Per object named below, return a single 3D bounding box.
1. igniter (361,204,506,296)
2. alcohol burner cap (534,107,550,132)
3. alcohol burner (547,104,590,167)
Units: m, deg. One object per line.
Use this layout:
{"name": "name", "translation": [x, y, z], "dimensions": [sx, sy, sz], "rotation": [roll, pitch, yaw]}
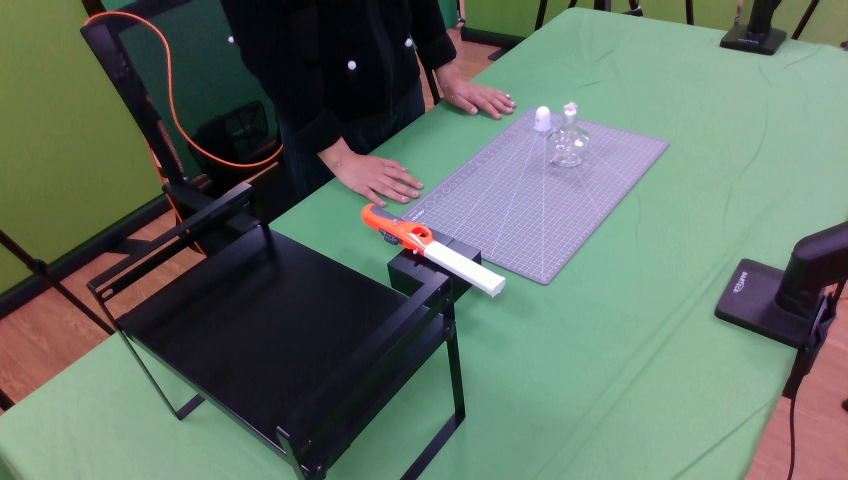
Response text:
{"name": "igniter", "translation": [0.003, 0.008, 0.889], "dimensions": [0.274, 0.025, 0.057], "rotation": [29, 49, 33]}
{"name": "alcohol burner cap", "translation": [0.236, -0.243, 1.206], "dimensions": [0.034, 0.048, 0.033], "rotation": [-4, 39, 4]}
{"name": "alcohol burner", "translation": [0.260, -0.192, 1.087], "dimensions": [0.078, 0.119, 0.077], "rotation": [-5, 42, 5]}
